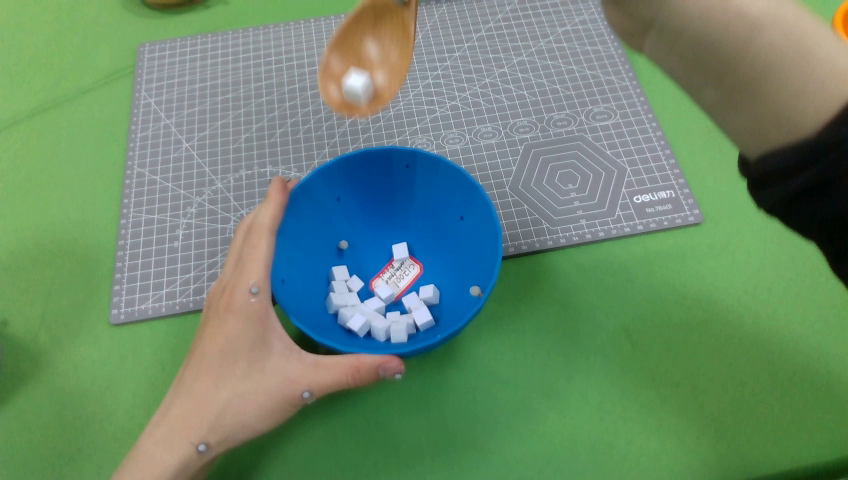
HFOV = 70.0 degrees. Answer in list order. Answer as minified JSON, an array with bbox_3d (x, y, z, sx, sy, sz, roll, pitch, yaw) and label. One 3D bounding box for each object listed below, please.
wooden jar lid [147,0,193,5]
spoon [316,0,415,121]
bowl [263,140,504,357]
[{"bbox_3d":[-0.259,-0.283,0.631,0.108,0.021,0.107,0,60,0],"label":"wooden jar lid"},{"bbox_3d":[0.004,-0.140,0.259,0.041,0.021,0.194,33,111,12],"label":"spoon"},{"bbox_3d":[-0.024,0.016,0.412,0.151,0.077,0.150,-1,62,1],"label":"bowl"}]
